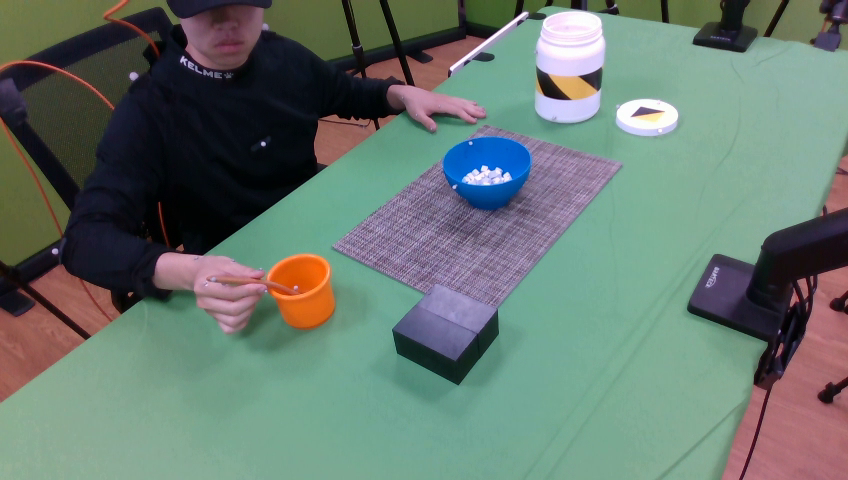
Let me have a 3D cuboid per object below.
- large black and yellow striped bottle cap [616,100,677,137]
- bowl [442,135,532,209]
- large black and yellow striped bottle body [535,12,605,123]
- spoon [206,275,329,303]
[{"bbox_3d":[0.438,-0.241,1.190,0.115,0.019,0.114,-4,42,4],"label":"large black and yellow striped bottle cap"},{"bbox_3d":[0.108,-0.106,1.026,0.151,0.077,0.150,-4,41,4],"label":"bowl"},{"bbox_3d":[0.287,-0.340,1.197,0.131,0.185,0.130,-4,41,4],"label":"large black and yellow striped bottle body"},{"bbox_3d":[-0.208,0.064,0.824,0.041,0.195,0.021,18,88,42],"label":"spoon"}]
